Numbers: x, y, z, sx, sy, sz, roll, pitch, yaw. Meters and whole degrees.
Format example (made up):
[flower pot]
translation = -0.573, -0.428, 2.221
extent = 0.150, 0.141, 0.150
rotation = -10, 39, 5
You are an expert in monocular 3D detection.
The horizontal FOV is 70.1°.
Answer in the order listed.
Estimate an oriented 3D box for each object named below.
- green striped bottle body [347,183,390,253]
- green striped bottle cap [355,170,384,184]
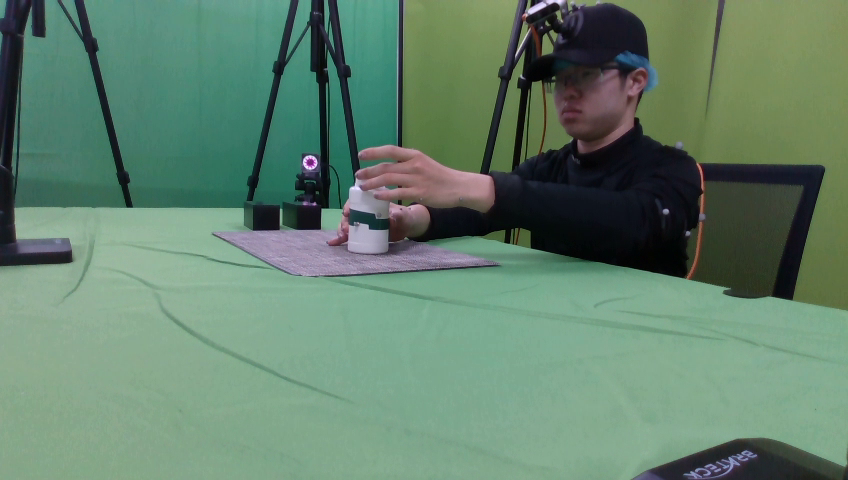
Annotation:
[green striped bottle body]
translation = -0.083, -0.042, 0.913
extent = 0.063, 0.119, 0.063
rotation = 2, 8, 0
[green striped bottle cap]
translation = -0.081, -0.094, 0.906
extent = 0.044, 0.020, 0.044
rotation = 5, 8, 0
